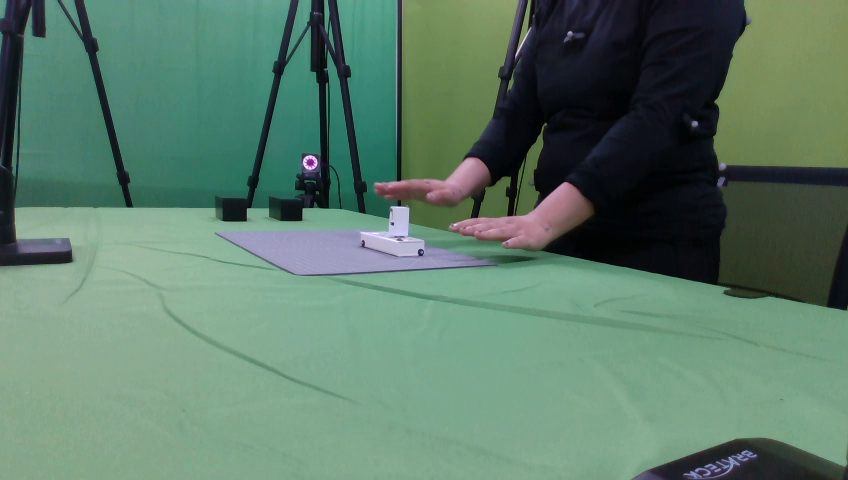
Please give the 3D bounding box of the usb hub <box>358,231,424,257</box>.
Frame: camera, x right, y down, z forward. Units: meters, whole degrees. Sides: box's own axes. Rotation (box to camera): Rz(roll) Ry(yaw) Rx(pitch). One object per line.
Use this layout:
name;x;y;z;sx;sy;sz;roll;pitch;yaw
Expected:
usb hub;-0.054;0.005;0.947;0.050;0.025;0.124;-3;9;-34

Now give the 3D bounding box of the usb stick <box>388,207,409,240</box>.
usb stick;-0.040;-0.021;0.931;0.027;0.059;0.021;-5;11;-37
